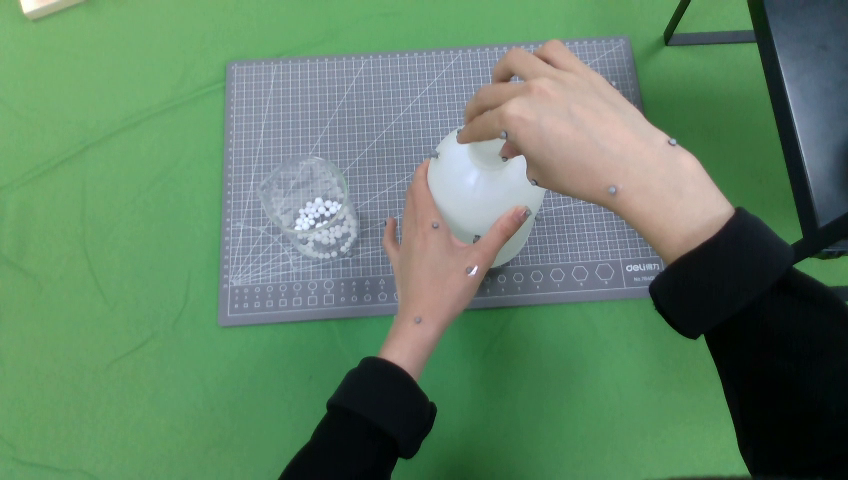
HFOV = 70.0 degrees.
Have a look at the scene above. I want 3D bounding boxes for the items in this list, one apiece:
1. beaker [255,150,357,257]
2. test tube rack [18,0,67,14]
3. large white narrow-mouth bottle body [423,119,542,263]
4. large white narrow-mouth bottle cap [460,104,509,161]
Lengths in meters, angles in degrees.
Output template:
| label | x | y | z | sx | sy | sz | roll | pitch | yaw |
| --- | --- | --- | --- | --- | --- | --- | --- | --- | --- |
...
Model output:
| label | x | y | z | sx | sy | sz | roll | pitch | yaw |
| --- | --- | --- | --- | --- | --- | --- | --- | --- | --- |
| beaker | -0.106 | -0.030 | 0.571 | 0.084 | 0.101 | 0.073 | 7 | 72 | 4 |
| test tube rack | -0.363 | -0.350 | 0.681 | 0.242 | 0.085 | 0.066 | -24 | 74 | -7 |
| large white narrow-mouth bottle body | 0.050 | -0.049 | 0.527 | 0.102 | 0.196 | 0.101 | -1 | 73 | 3 |
| large white narrow-mouth bottle cap | 0.043 | -0.077 | 0.439 | 0.038 | 0.024 | 0.037 | -1 | 74 | 3 |
